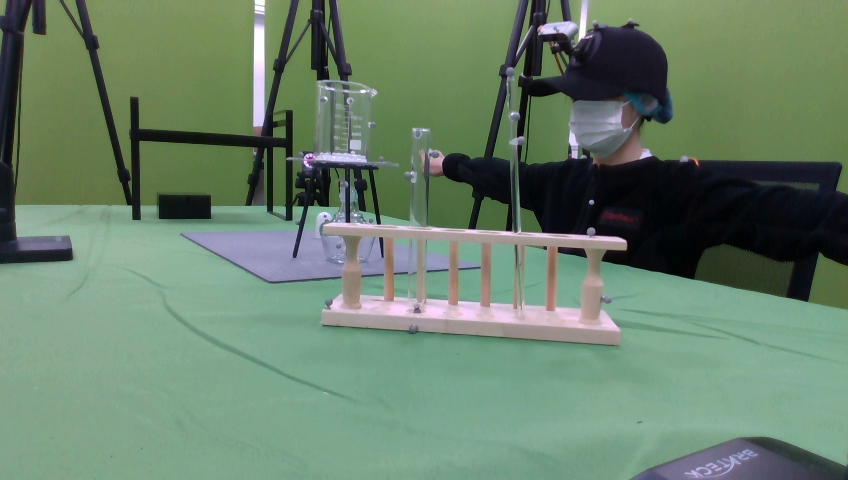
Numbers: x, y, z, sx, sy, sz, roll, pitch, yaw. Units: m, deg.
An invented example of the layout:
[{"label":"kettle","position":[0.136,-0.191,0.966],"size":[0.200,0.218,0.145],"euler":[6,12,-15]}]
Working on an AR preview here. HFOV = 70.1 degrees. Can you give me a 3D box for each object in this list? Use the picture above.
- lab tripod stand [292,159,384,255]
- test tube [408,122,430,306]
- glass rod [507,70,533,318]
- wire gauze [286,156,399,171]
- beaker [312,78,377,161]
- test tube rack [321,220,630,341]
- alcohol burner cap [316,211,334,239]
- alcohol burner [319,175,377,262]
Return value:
[{"label":"lab tripod stand","position":[-0.105,-0.039,0.797],"size":[0.148,0.131,0.148],"euler":[2,5,0]},{"label":"test tube","position":[-0.004,-0.019,0.489],"size":[0.017,0.150,0.017],"euler":[1,11,0]},{"label":"glass rod","position":[0.076,-0.031,0.476],"size":[0.008,0.199,0.008],"euler":[-6,12,2]},{"label":"wire gauze","position":[-0.101,-0.103,0.788],"size":[0.121,0.011,0.125],"euler":[5,4,6]},{"label":"beaker","position":[-0.103,-0.151,0.776],"size":[0.084,0.100,0.074],"euler":[5,6,14]},{"label":"test tube rack","position":[0.041,0.029,0.512],"size":[0.242,0.085,0.067],"euler":[3,7,5]},{"label":"alcohol burner cap","position":[-0.171,-0.027,1.048],"size":[0.034,0.048,0.034],"euler":[2,8,0]},{"label":"alcohol burner","position":[-0.101,-0.030,0.807],"size":[0.078,0.119,0.078],"euler":[0,7,0]}]
